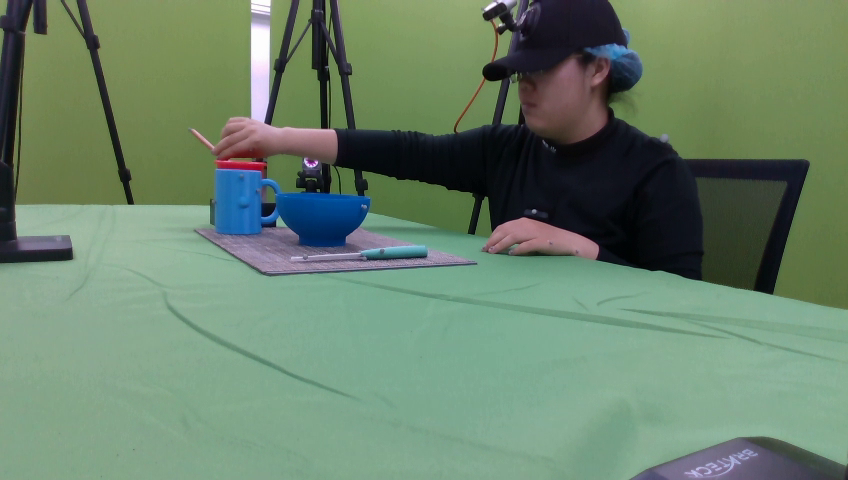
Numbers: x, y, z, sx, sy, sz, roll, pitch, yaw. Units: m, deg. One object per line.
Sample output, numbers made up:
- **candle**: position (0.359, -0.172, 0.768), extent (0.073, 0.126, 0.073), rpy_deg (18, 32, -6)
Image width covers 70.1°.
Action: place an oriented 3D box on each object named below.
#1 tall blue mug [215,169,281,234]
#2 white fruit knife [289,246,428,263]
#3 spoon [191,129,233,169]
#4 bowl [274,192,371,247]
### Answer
- **tall blue mug**: position (-0.313, -0.069, 1.061), extent (0.077, 0.108, 0.108), rpy_deg (6, 8, 31)
- **white fruit knife**: position (-0.082, 0.022, 0.822), extent (0.208, 0.016, 0.027), rpy_deg (-3, -20, -30)
- **spoon**: position (-0.389, -0.150, 1.176), extent (0.193, 0.021, 0.042), rpy_deg (49, 20, 8)
- **bowl**: position (-0.161, -0.033, 0.958), extent (0.151, 0.077, 0.151), rpy_deg (3, 7, 0)
